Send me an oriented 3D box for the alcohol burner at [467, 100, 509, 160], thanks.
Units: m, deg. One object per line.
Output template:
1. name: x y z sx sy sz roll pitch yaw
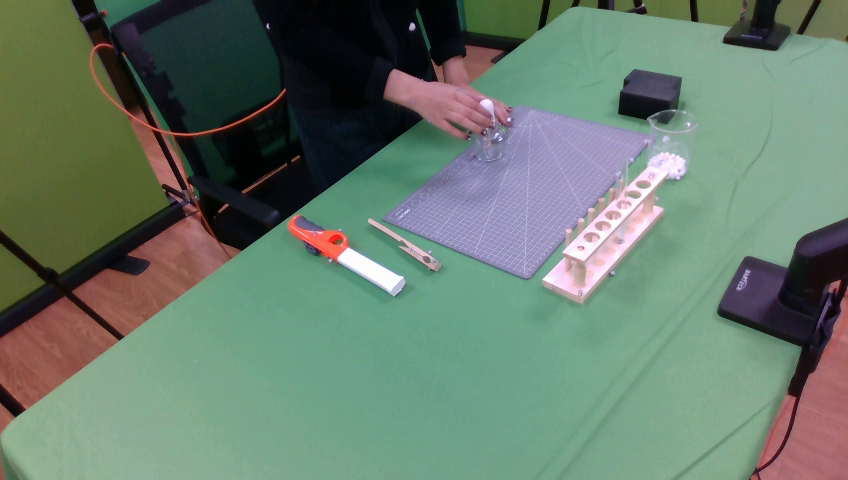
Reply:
1. alcohol burner: 0.118 -0.210 1.131 0.078 0.119 0.077 -6 42 6

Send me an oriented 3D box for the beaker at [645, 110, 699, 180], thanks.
1. beaker: 0.417 -0.160 1.032 0.083 0.101 0.074 25 51 34

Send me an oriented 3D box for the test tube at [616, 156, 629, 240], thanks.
1. test tube: 0.284 -0.057 0.869 0.017 0.151 0.017 -8 42 8

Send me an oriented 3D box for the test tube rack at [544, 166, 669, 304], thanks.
1. test tube rack: 0.274 -0.018 0.903 0.066 0.085 0.243 26 51 35

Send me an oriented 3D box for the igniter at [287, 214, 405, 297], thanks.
1. igniter: -0.137 0.019 0.980 0.274 0.025 0.057 28 62 36

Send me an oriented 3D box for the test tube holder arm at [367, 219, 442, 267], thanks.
1. test tube holder arm: -0.035 0.003 0.985 0.177 0.015 0.013 32 89 40

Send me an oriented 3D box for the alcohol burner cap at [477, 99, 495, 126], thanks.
1. alcohol burner cap: 0.113 -0.237 1.108 0.034 0.048 0.033 -4 46 4

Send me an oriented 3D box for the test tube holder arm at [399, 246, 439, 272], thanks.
1. test tube holder arm: -0.009 0.027 0.956 0.087 0.015 0.010 34 90 40
